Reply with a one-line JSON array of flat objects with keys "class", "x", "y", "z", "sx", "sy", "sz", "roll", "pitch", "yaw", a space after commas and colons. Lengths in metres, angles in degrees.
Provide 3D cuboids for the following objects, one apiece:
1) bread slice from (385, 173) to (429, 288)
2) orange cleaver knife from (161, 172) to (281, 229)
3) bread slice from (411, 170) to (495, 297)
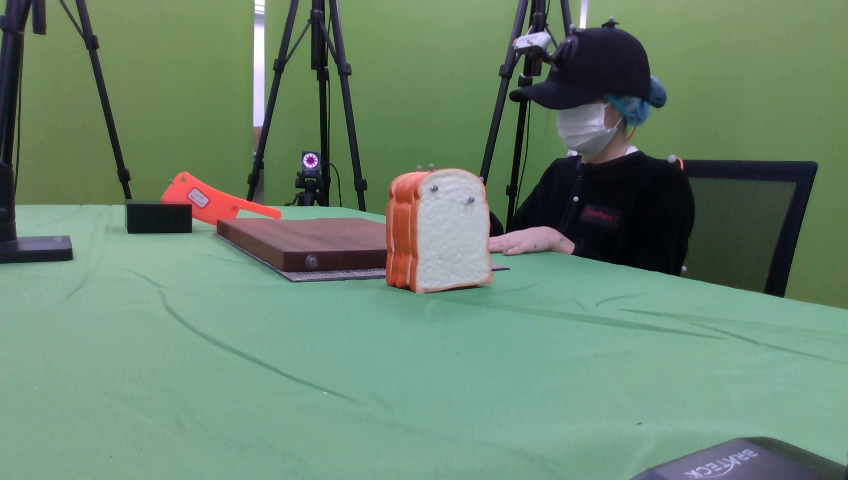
[{"class": "bread slice", "x": 0.001, "y": -0.013, "z": 0.705, "sx": 0.105, "sy": 0.131, "sz": 0.019, "roll": -1, "pitch": 2, "yaw": -33}, {"class": "orange cleaver knife", "x": -0.372, "y": -0.061, "z": 1.121, "sx": 0.212, "sy": 0.077, "sz": 0.012, "roll": 20, "pitch": -6, "yaw": -30}, {"class": "bread slice", "x": 0.028, "y": -0.009, "z": 0.660, "sx": 0.107, "sy": 0.134, "sz": 0.018, "roll": -9, "pitch": 7, "yaw": -36}]
